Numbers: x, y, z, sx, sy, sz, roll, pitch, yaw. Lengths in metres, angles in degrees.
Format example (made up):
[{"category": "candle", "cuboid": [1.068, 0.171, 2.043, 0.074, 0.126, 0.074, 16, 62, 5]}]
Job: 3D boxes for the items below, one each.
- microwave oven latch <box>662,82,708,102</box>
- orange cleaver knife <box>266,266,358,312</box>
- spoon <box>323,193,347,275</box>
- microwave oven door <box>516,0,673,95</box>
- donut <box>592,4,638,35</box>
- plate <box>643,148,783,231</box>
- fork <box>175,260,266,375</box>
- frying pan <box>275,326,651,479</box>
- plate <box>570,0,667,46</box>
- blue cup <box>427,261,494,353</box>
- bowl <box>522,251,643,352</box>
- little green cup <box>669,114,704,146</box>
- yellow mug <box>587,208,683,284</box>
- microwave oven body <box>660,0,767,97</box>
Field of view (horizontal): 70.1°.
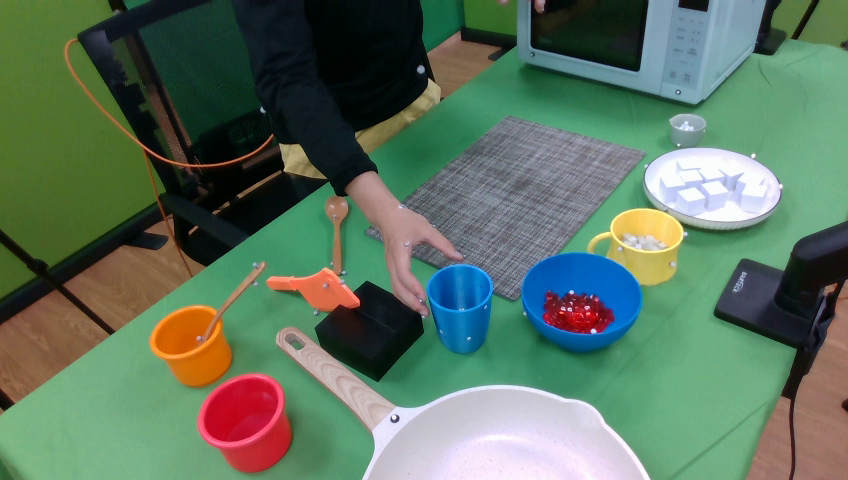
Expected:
[{"category": "microwave oven latch", "cuboid": [0.518, -0.299, 1.203, 0.078, 0.029, 0.030, 29, 53, 36]}, {"category": "orange cleaver knife", "cuboid": [-0.164, 0.073, 0.864, 0.210, 0.077, 0.012, -6, 30, 50]}, {"category": "spoon", "cuboid": [-0.148, -0.014, 1.008, 0.042, 0.022, 0.192, 1, 40, -9]}, {"category": "microwave oven door", "cuboid": [0.344, -0.458, 1.256, 0.353, 0.245, 0.039, 26, 51, 33]}, {"category": "donut", "cuboid": [0.428, -0.492, 1.352, 0.099, 0.048, 0.098, -7, 41, 6]}, {"category": "plate", "cuboid": [0.464, -0.080, 0.986, 0.207, 0.039, 0.206, -4, 40, 4]}, {"category": "fork", "cuboid": [-0.268, 0.103, 0.792, 0.207, 0.019, 0.028, -51, 40, 16]}, {"category": "frying pan", "cuboid": [0.003, 0.229, 0.641, 0.484, 0.103, 0.308, 34, 54, 28]}, {"category": "plate", "cuboid": [0.436, -0.489, 1.368, 0.209, 0.038, 0.208, -5, 40, 4]}, {"category": "blue cup", "cuboid": [0.050, 0.095, 0.791, 0.092, 0.100, 0.092, -3, 42, 3]}, {"category": "bowl", "cuboid": [0.204, 0.093, 0.792, 0.151, 0.077, 0.150, -4, 40, 4]}, {"category": "little green cup", "cuboid": [0.485, -0.203, 1.123, 0.061, 0.039, 0.061, -5, 40, 5]}, {"category": "yellow mug", "cuboid": [0.305, 0.009, 0.884, 0.131, 0.064, 0.099, -4, 41, 5]}, {"category": "microwave oven body", "cuboid": [0.473, -0.516, 1.313, 0.438, 0.261, 0.327, 26, 51, 34]}]
